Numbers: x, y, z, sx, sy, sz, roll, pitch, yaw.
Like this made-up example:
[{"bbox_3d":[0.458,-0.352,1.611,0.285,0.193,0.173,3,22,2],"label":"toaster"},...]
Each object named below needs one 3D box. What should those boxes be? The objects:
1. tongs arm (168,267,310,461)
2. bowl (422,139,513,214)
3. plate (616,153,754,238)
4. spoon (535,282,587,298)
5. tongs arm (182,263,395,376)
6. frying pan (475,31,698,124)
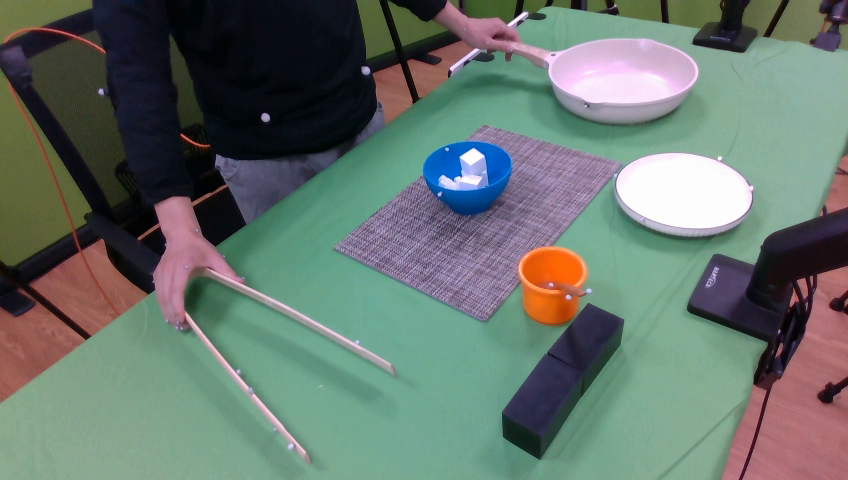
[{"bbox_3d":[-0.249,0.148,0.800,0.051,0.026,0.381,-40,52,-24],"label":"tongs arm"},{"bbox_3d":[0.075,-0.097,1.021,0.151,0.077,0.150,-4,41,4],"label":"bowl"},{"bbox_3d":[0.416,-0.069,0.977,0.207,0.039,0.206,-4,40,4],"label":"plate"},{"bbox_3d":[0.176,0.063,0.774,0.041,0.194,0.021,-3,85,0],"label":"spoon"},{"bbox_3d":[-0.198,0.102,0.836,0.385,0.028,0.028,21,58,27],"label":"tongs arm"},{"bbox_3d":[0.320,-0.371,1.290,0.485,0.103,0.307,28,50,23],"label":"frying pan"}]
